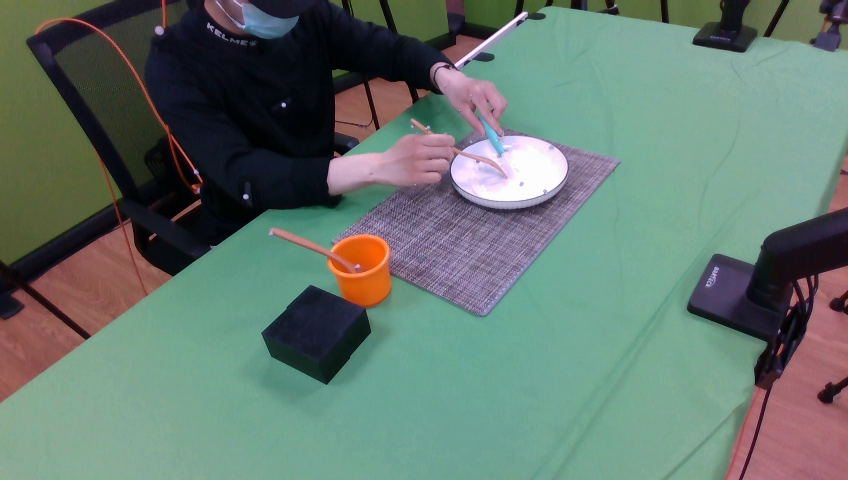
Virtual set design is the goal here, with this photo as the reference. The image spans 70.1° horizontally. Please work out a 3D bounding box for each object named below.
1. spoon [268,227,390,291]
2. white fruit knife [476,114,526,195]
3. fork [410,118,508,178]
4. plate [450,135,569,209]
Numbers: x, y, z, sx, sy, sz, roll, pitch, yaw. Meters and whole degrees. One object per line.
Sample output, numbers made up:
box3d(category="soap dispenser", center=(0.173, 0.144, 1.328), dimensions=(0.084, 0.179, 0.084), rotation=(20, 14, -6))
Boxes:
box3d(category="spoon", center=(-0.132, 0.025, 0.862), dimensions=(0.021, 0.195, 0.041), rotation=(-39, 32, 34))
box3d(category="white fruit knife", center=(0.139, -0.157, 1.083), dimensions=(0.016, 0.027, 0.206), rotation=(-14, 56, -15))
box3d(category="fork", center=(0.063, -0.156, 1.032), dimensions=(0.209, 0.018, 0.028), rotation=(23, 24, -23))
box3d(category="plate", center=(0.149, -0.117, 1.066), dimensions=(0.209, 0.038, 0.208), rotation=(-4, 41, 4))
